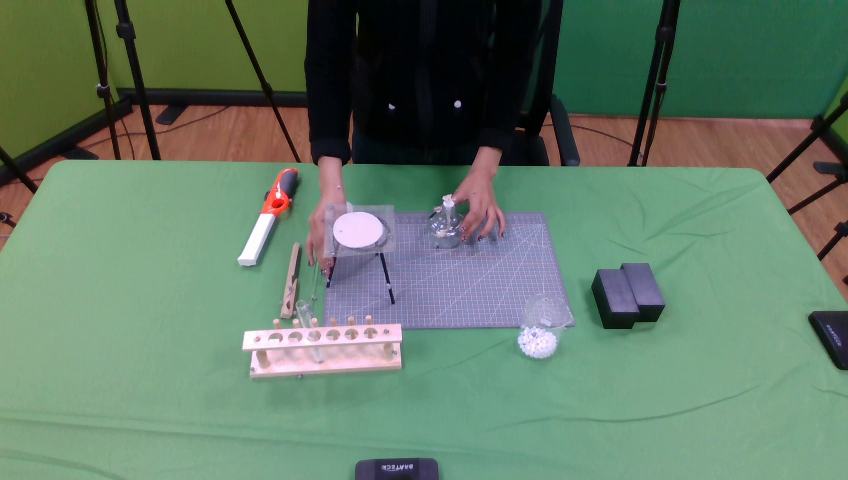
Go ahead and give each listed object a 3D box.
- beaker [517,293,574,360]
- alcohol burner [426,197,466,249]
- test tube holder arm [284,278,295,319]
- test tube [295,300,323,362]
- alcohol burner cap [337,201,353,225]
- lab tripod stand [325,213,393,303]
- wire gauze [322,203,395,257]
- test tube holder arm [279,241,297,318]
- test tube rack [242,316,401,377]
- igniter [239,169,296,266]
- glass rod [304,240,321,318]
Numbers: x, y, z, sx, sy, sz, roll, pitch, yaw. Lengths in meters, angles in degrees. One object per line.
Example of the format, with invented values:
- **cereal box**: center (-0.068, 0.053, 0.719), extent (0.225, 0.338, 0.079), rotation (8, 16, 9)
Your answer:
- **beaker**: center (0.200, 0.149, 1.018), extent (0.084, 0.101, 0.073), rotation (14, 47, 8)
- **alcohol burner**: center (0.044, -0.040, 1.175), extent (0.078, 0.119, 0.077), rotation (3, 47, -3)
- **test tube holder arm**: center (-0.241, 0.103, 1.085), extent (0.010, 0.015, 0.087), rotation (26, 38, -27)
- **test tube**: center (-0.176, 0.143, 0.935), extent (0.017, 0.151, 0.017), rotation (-2, 46, 2)
- **alcohol burner cap**: center (-0.161, -0.056, 1.223), extent (0.034, 0.048, 0.033), rotation (1, 46, -1)
- **lab tripod stand**: center (-0.104, 0.031, 1.080), extent (0.148, 0.132, 0.147), rotation (4, 45, -4)
- **wire gauze**: center (-0.111, -0.020, 1.035), extent (0.121, 0.011, 0.124), rotation (0, 47, -7)
- **test tube holder arm**: center (-0.249, 0.069, 1.113), extent (0.013, 0.015, 0.177), rotation (25, 38, -28)
- **test tube rack**: center (-0.161, 0.166, 0.983), extent (0.242, 0.085, 0.066), rotation (-2, 46, -6)
- **igniter**: center (-0.312, -0.055, 1.224), extent (0.057, 0.025, 0.275), rotation (1, 45, 10)
- **glass rod**: center (-0.207, 0.069, 1.128), extent (0.008, 0.008, 0.198), rotation (2, 43, -2)
